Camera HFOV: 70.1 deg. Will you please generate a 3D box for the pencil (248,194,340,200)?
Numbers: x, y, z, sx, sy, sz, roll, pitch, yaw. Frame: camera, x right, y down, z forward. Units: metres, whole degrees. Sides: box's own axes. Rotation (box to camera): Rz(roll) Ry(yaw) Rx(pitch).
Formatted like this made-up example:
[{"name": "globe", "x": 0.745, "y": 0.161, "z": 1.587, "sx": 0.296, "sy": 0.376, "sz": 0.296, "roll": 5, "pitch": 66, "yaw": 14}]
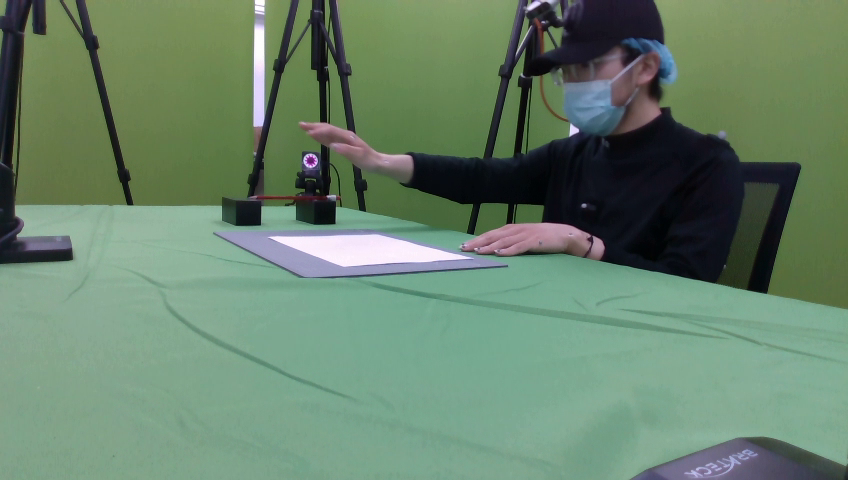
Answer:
[{"name": "pencil", "x": -0.275, "y": -0.091, "z": 1.291, "sx": 0.195, "sy": 0.012, "sz": 0.012, "roll": -2, "pitch": 9, "yaw": -21}]
